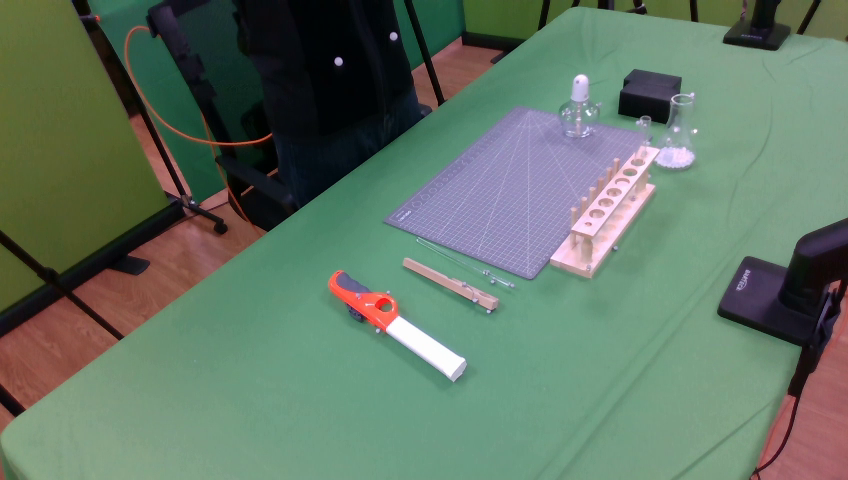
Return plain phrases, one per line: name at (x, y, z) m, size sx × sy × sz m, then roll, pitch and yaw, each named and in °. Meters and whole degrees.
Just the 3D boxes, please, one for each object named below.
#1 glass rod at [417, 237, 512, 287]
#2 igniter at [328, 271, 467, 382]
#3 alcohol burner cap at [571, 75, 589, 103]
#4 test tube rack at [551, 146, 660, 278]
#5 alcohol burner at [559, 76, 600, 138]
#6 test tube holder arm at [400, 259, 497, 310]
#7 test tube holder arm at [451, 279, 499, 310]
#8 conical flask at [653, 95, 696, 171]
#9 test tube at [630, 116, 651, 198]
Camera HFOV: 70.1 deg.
glass rod at (0.059, 0.032, 0.945) m, size 0.198 × 0.008 × 0.008 m, roll 26°, pitch 52°, yaw 38°
igniter at (-0.049, 0.114, 0.854) m, size 0.274 × 0.025 × 0.057 m, roll 29°, pitch 63°, yaw 37°
alcohol burner cap at (0.294, -0.284, 1.132) m, size 0.034 × 0.048 × 0.033 m, roll -5°, pitch 46°, yaw 5°
test tube rack at (0.286, -0.053, 0.943) m, size 0.066 × 0.085 × 0.243 m, roll 21°, pitch 49°, yaw 32°
alcohol burner at (0.298, -0.258, 1.156) m, size 0.078 × 0.119 × 0.077 m, roll -4°, pitch 39°, yaw 4°
test tube holder arm at (0.033, 0.064, 0.902) m, size 0.177 × 0.015 × 0.013 m, roll 23°, pitch 14°, yaw 32°
test tube holder arm at (0.071, 0.079, 0.882) m, size 0.087 × 0.015 × 0.010 m, roll 23°, pitch 14°, yaw 34°
conical flask at (0.437, -0.187, 1.043) m, size 0.075 × 0.122 × 0.075 m, roll -6°, pitch 40°, yaw 5°
test tube at (0.336, -0.125, 0.941) m, size 0.017 × 0.151 × 0.017 m, roll -5°, pitch 43°, yaw 5°
